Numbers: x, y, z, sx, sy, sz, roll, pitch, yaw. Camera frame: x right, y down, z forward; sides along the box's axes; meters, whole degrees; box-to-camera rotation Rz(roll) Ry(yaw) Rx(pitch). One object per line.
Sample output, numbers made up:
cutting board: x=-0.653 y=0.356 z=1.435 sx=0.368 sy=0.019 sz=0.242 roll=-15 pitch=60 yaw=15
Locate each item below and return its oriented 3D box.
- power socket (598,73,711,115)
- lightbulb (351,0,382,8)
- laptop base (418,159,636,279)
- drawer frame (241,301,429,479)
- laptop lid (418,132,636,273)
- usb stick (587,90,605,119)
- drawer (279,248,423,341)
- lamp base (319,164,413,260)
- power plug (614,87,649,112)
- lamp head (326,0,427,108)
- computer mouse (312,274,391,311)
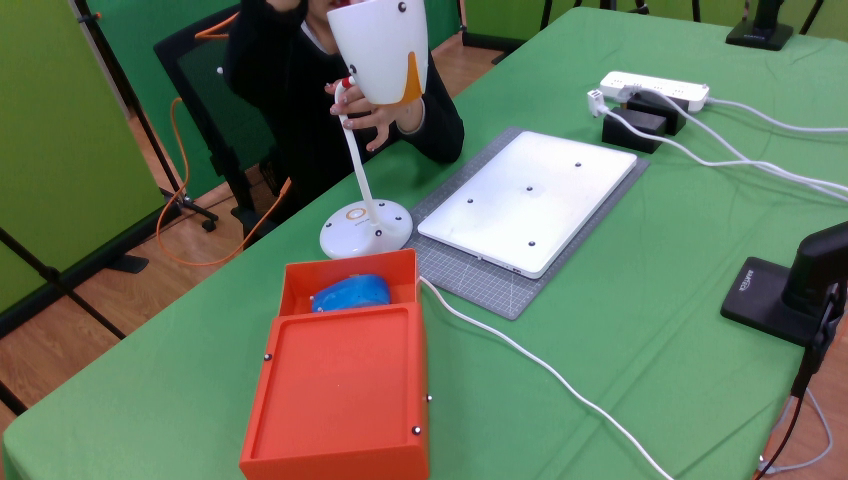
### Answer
power socket: x=0.469 y=-0.304 z=1.249 sx=0.225 sy=0.033 sz=0.072 roll=20 pitch=49 yaw=30
lightbulb: x=-0.047 y=-0.246 z=0.696 sx=0.059 sy=0.108 sz=0.059 roll=-11 pitch=24 yaw=5
laptop base: x=0.185 y=-0.074 z=1.042 sx=0.233 sy=0.023 sz=0.355 roll=20 pitch=48 yaw=35
drawer frame: x=-0.096 y=0.183 z=0.741 sx=0.202 sy=0.083 sz=0.212 roll=-6 pitch=40 yaw=3
laptop lid: x=0.182 y=-0.084 z=1.036 sx=0.239 sy=0.013 sz=0.358 roll=22 pitch=49 yaw=35
usb stick: x=0.334 y=-0.258 z=1.170 sx=0.021 sy=0.059 sz=0.027 roll=-29 pitch=44 yaw=-6
drawer: x=-0.099 y=0.114 z=0.828 sx=0.194 sy=0.073 sz=0.210 roll=-7 pitch=40 yaw=2
lamp base: x=-0.102 y=-0.068 z=0.962 sx=0.161 sy=0.181 sz=0.177 roll=-30 pitch=46 yaw=-21
power plug: x=0.406 y=-0.275 z=1.193 sx=0.035 sy=0.053 sz=0.072 roll=-16 pitch=24 yaw=-15
lamp head: x=-0.047 y=-0.217 z=0.708 sx=0.112 sy=0.123 sz=0.112 roll=-9 pitch=25 yaw=4
computer mouse: x=-0.107 y=0.086 z=0.885 sx=0.117 sy=0.041 sz=0.062 roll=-14 pitch=41 yaw=0
